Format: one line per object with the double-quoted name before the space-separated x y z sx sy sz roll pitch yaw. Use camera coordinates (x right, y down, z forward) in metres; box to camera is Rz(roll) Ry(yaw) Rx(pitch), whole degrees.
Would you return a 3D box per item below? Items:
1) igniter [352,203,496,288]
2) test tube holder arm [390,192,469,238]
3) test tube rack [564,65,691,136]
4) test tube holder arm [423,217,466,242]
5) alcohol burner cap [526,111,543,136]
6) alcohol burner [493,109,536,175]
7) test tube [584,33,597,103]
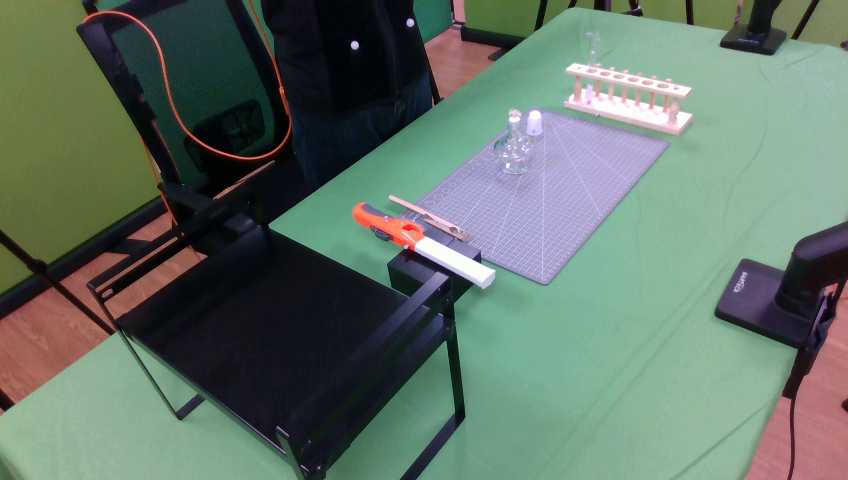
"igniter" -0.011 0.002 0.899 0.274 0.025 0.057 27 45 33
"test tube holder arm" 0.006 -0.044 1.019 0.177 0.015 0.013 32 84 36
"test tube rack" 0.404 -0.288 1.204 0.240 0.085 0.067 24 49 32
"test tube holder arm" 0.033 -0.020 0.992 0.087 0.015 0.010 32 84 36
"alcohol burner cap" 0.219 -0.232 1.196 0.034 0.048 0.033 -4 40 4
"alcohol burner" 0.163 -0.179 1.087 0.078 0.119 0.077 -5 39 5
"test tube" 0.330 -0.338 1.199 0.017 0.151 0.017 -5 45 5
